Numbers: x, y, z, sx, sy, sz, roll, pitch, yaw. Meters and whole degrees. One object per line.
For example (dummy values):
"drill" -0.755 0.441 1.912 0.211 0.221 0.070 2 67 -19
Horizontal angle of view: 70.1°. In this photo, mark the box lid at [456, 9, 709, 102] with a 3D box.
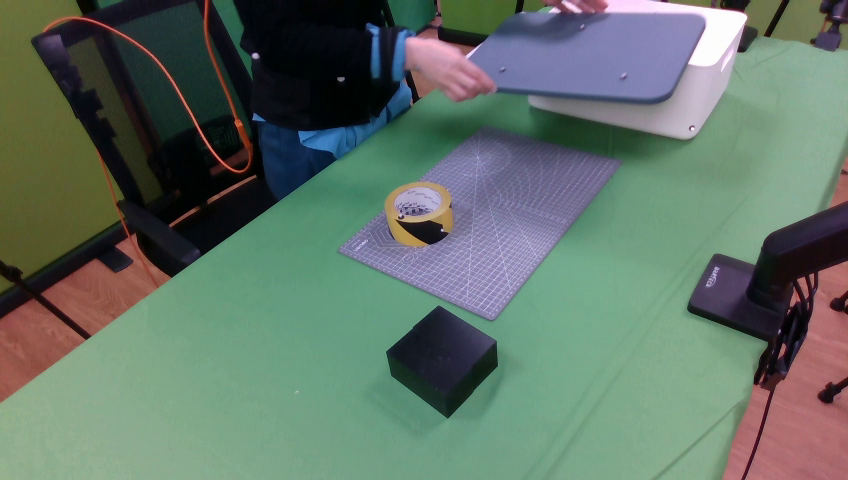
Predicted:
"box lid" 0.264 -0.321 1.020 0.369 0.015 0.263 13 51 30

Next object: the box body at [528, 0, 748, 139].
"box body" 0.412 -0.354 1.212 0.361 0.161 0.254 20 48 29

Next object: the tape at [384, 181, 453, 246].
"tape" -0.009 -0.045 0.994 0.117 0.053 0.116 -4 40 4
